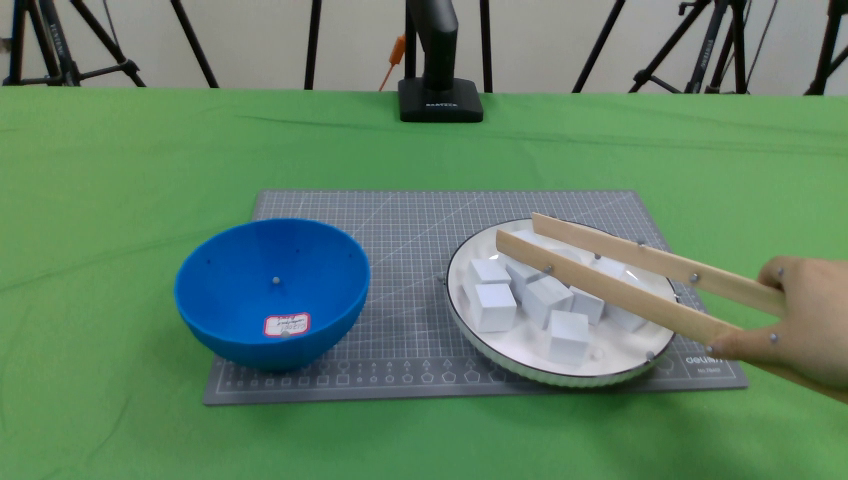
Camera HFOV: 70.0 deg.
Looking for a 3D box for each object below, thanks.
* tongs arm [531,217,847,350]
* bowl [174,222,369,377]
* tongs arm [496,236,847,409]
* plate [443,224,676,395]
[{"bbox_3d":[0.226,0.049,0.465,0.381,0.027,0.051,21,39,41],"label":"tongs arm"},{"bbox_3d":[-0.120,0.059,0.503,0.151,0.077,0.150,2,38,-1],"label":"bowl"},{"bbox_3d":[0.202,0.061,0.448,0.028,0.028,0.384,-25,33,-36],"label":"tongs arm"},{"bbox_3d":[0.120,0.061,0.553,0.208,0.039,0.205,3,38,-2],"label":"plate"}]
